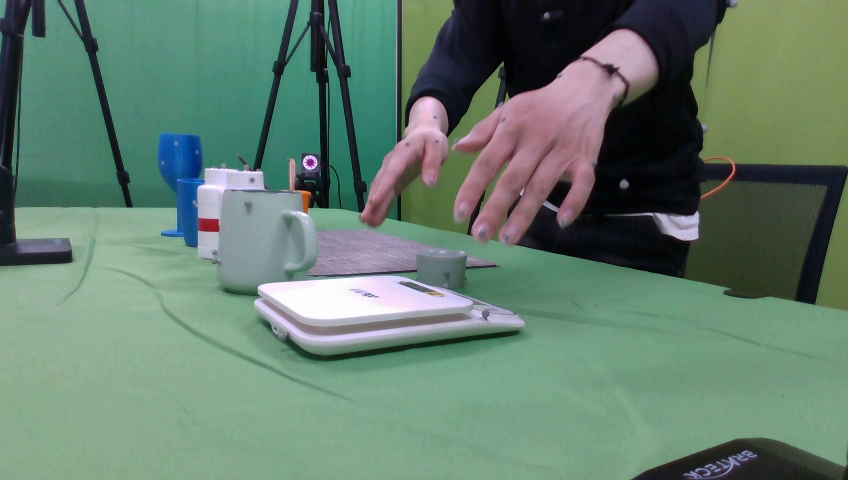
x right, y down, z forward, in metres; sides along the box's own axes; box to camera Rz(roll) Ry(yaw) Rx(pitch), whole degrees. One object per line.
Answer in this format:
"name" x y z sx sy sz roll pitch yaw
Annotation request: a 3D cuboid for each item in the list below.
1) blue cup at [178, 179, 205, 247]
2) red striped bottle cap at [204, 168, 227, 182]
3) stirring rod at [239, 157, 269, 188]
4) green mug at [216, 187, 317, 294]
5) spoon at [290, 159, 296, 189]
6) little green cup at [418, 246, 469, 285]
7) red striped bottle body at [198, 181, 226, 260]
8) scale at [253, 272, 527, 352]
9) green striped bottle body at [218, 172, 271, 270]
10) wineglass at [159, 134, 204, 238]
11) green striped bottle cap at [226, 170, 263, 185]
"blue cup" -0.334 -0.042 0.936 0.093 0.100 0.092 3 8 0
"red striped bottle cap" -0.275 -0.088 0.821 0.044 0.017 0.044 4 6 0
"stirring rod" -0.309 -0.098 1.209 0.006 0.177 0.014 -39 29 -4
"green mug" -0.157 0.000 0.629 0.124 0.105 0.093 7 9 37
"spoon" -0.273 -0.102 1.252 0.042 0.193 0.021 7 -38 -17
"little green cup" 0.022 0.030 0.701 0.061 0.038 0.061 2 5 0
"red striped bottle body" -0.275 -0.035 0.827 0.063 0.119 0.063 1 6 0
"scale" -0.029 0.054 0.512 0.202 0.031 0.148 -2 8 -31
"green striped bottle body" -0.223 -0.025 0.755 0.063 0.119 0.063 1 7 0
"wineglass" -0.415 -0.093 1.040 0.074 0.172 0.073 2 7 0
"green striped bottle cap" -0.222 -0.077 0.748 0.044 0.020 0.044 1 7 0
